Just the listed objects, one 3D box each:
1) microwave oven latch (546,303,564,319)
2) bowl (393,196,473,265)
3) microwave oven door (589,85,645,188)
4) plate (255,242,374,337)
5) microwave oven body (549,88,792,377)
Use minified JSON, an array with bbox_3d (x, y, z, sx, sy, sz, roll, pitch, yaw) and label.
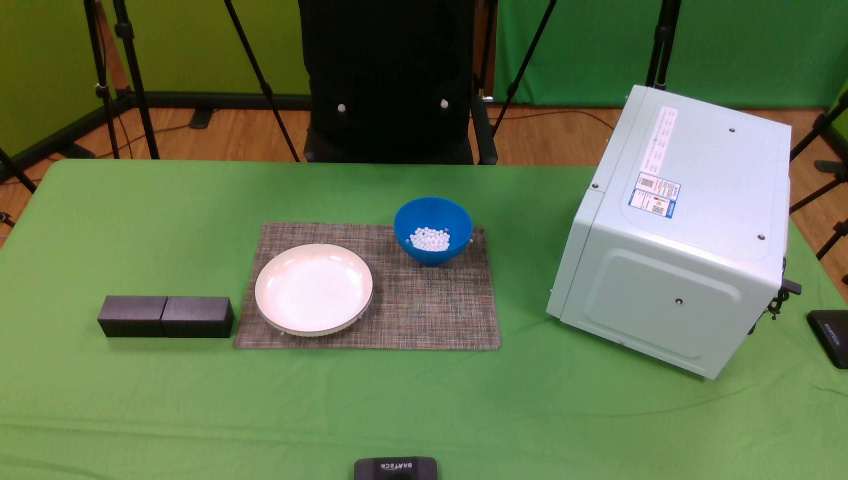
[{"bbox_3d":[0.242,0.102,1.081,0.030,0.029,0.079,21,48,17],"label":"microwave oven latch"},{"bbox_3d":[0.014,-0.006,1.159,0.151,0.077,0.150,2,46,-2],"label":"bowl"},{"bbox_3d":[0.342,-0.107,1.149,0.039,0.245,0.354,20,48,15],"label":"microwave oven door"},{"bbox_3d":[-0.192,0.090,1.079,0.208,0.039,0.206,2,46,-2],"label":"plate"},{"bbox_3d":[0.456,-0.028,1.088,0.325,0.261,0.440,20,47,16],"label":"microwave oven body"}]
